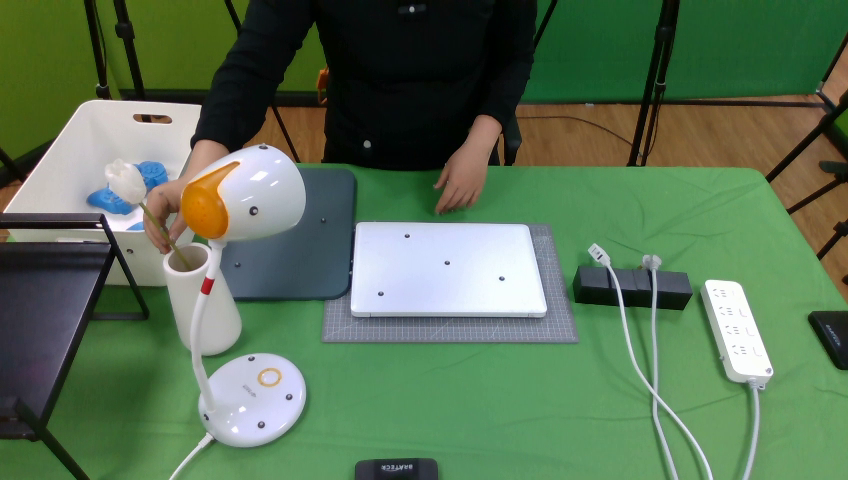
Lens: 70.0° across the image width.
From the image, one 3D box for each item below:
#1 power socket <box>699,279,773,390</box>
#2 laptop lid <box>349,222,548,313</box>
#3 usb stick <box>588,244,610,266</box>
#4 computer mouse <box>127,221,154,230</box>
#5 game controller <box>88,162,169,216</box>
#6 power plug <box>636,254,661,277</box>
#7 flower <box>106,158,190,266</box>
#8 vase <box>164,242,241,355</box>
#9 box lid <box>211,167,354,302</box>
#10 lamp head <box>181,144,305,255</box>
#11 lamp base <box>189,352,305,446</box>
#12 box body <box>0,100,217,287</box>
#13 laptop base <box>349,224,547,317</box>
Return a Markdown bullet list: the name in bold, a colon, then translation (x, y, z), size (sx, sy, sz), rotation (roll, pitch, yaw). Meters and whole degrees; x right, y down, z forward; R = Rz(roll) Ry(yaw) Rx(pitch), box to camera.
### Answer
- **power socket**: translation (0.552, 0.158, 1.080), size (0.072, 0.033, 0.225), rotation (4, 47, 1)
- **laptop lid**: translation (0.041, 0.046, 1.142), size (0.357, 0.013, 0.240), rotation (2, 44, -3)
- **usb stick**: translation (0.336, 0.026, 1.172), size (0.027, 0.021, 0.059), rotation (32, 16, -12)
- **computer mouse**: translation (-0.537, 0.009, 1.127), size (0.062, 0.041, 0.117), rotation (31, 55, 21)
- **game controller**: translation (-0.598, -0.112, 1.233), size (0.097, 0.052, 0.155), rotation (29, 52, 20)
- **power plug**: translation (0.415, 0.051, 1.139), size (0.035, 0.053, 0.072), rotation (46, 49, 10)
- **flower**: translation (-0.360, 0.026, 0.903), size (0.044, 0.364, 0.038), rotation (2, 48, 16)
- **vase**: translation (-0.349, 0.096, 0.953), size (0.098, 0.201, 0.097), rotation (3, 47, -3)
- **box lid**: translation (-0.276, -0.023, 1.205), size (0.263, 0.015, 0.369), rotation (0, 46, -4)
- **lamp head**: translation (-0.216, -0.043, 0.696), size (0.112, 0.113, 0.123), rotation (23, 31, 17)
- **lamp base**: translation (-0.267, 0.197, 0.876), size (0.160, 0.181, 0.179), rotation (26, 52, 19)
- **box body**: translation (-0.560, -0.092, 1.144), size (0.254, 0.161, 0.361), rotation (3, 46, -2)
- **laptop base**: translation (0.041, 0.056, 1.148), size (0.355, 0.023, 0.234), rotation (1, 42, -4)
